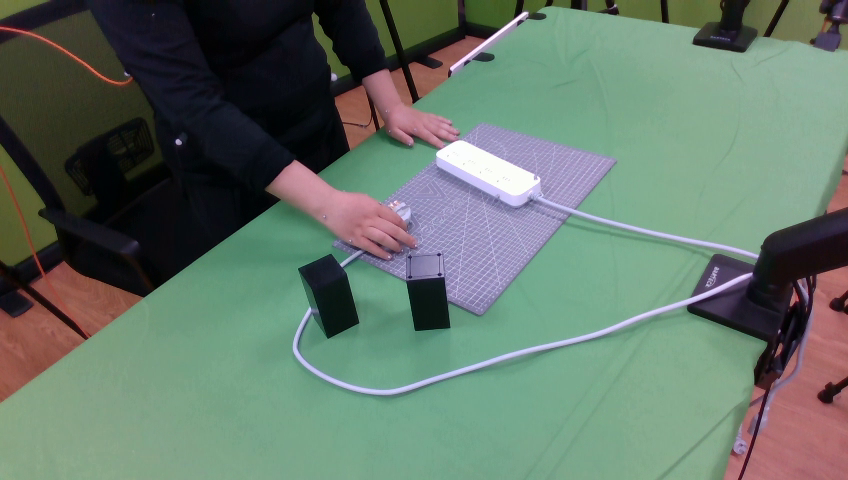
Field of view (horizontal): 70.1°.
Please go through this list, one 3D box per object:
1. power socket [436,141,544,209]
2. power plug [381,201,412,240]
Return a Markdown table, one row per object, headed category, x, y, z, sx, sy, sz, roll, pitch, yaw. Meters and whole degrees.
| category | x | y | z | sx | sy | sz | roll | pitch | yaw |
| --- | --- | --- | --- | --- | --- | --- | --- | --- | --- |
| power socket | 0.112 | -0.120 | 1.082 | 0.072 | 0.033 | 0.224 | -34 | 47 | -27 |
| power plug | -0.053 | -0.039 | 1.005 | 0.073 | 0.035 | 0.052 | -25 | 54 | -32 |
